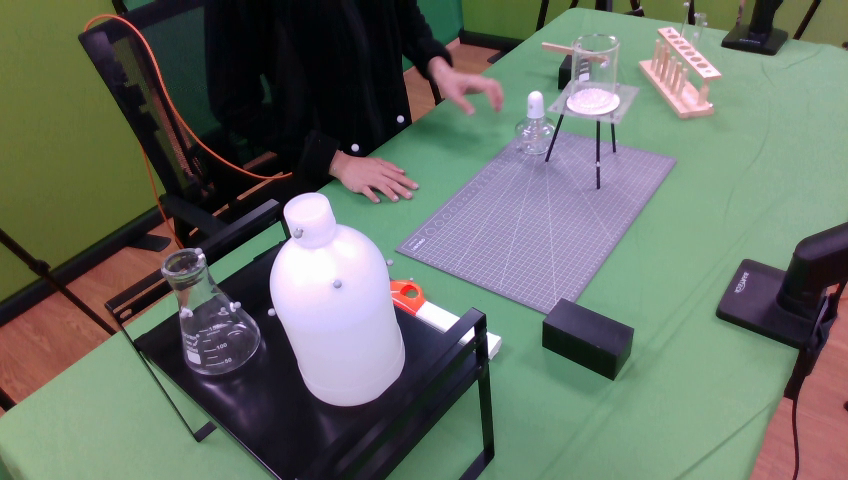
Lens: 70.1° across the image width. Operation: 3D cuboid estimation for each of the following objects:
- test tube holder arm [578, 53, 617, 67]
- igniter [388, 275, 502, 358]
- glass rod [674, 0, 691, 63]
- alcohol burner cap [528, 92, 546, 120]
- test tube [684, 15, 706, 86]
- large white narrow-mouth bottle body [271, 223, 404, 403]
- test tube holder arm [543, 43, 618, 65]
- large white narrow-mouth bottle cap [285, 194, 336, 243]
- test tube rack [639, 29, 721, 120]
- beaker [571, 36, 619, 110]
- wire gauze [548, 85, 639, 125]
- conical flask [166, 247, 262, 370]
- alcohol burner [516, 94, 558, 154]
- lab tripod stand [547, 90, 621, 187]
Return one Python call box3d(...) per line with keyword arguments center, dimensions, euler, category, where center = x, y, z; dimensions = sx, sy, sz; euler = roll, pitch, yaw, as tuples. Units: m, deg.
box3d(center=(0.376, -0.393, 1.314), dimensions=(0.087, 0.015, 0.010), euler=(26, 51, 32), category="test tube holder arm")
box3d(center=(-0.009, 0.094, 0.870), dimensions=(0.274, 0.025, 0.057), euler=(25, 60, 33), category="igniter")
box3d(center=(0.537, -0.437, 1.257), dimensions=(0.008, 0.200, 0.008), euler=(0, 39, 1), category="glass rod")
box3d(center=(0.206, -0.249, 1.112), dimensions=(0.034, 0.048, 0.033), euler=(-6, 35, 5), category="alcohol burner cap")
box3d(center=(0.541, -0.378, 1.215), dimensions=(0.017, 0.151, 0.017), euler=(-2, 44, 3), category="test tube")
box3d(center=(-0.077, 0.048, 0.525), dimensions=(0.102, 0.195, 0.101), euler=(-5, 40, 5), category="large white narrow-mouth bottle body")
box3d(center=(0.344, -0.413, 1.340), dimensions=(0.177, 0.015, 0.013), euler=(25, 50, 31), category="test tube holder arm")
box3d(center=(-0.087, -0.017, 0.468), dimensions=(0.038, 0.024, 0.037), euler=(-5, 40, 4), category="large white narrow-mouth bottle cap")
box3d(center=(0.527, -0.351, 1.262), dimensions=(0.067, 0.085, 0.241), euler=(-8, 40, 1), category="test tube rack")
box3d(center=(0.281, -0.273, 0.992), dimensions=(0.084, 0.101, 0.073), euler=(-24, 42, -16), category="beaker")
box3d(center=(0.286, -0.233, 1.020), dimensions=(0.124, 0.011, 0.122), euler=(15, 43, 30), category="wire gauze")
box3d(center=(-0.209, 0.063, 0.584), dimensions=(0.075, 0.122, 0.075), euler=(-5, 40, 4), category="conical flask")
box3d(center=(0.212, -0.221, 1.134), dimensions=(0.078, 0.119, 0.077), euler=(-5, 43, 5), category="alcohol burner")
box3d(center=(0.289, -0.184, 1.062), dimensions=(0.148, 0.132, 0.147), euler=(-6, 41, 6), category="lab tripod stand")
